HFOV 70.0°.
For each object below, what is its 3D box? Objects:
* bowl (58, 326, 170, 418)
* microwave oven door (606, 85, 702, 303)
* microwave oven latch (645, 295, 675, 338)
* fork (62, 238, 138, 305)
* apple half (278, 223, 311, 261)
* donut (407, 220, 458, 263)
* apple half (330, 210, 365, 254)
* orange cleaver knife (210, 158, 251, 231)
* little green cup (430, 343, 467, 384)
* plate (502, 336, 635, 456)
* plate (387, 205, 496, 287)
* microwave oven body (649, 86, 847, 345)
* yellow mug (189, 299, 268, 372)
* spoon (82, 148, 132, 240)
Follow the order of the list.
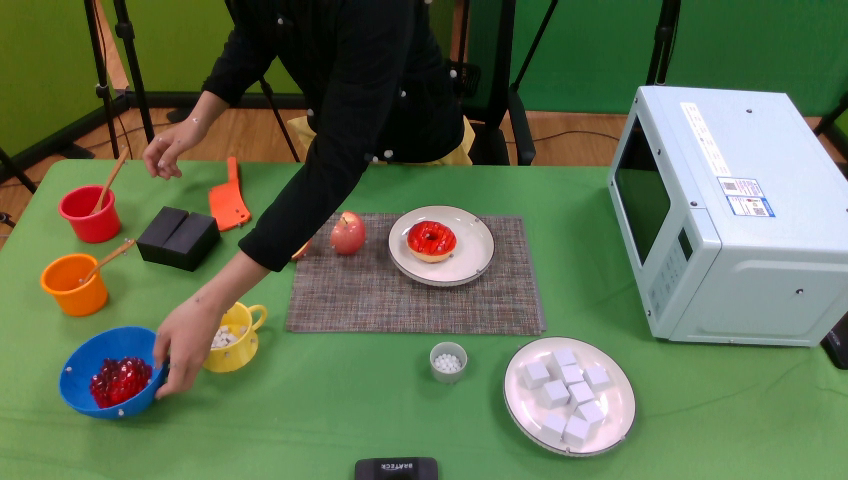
[{"bbox_3d":[-0.450,0.210,0.907,0.151,0.077,0.150,-1,42,1],"label":"bowl"},{"bbox_3d":[0.422,-0.094,1.140,0.039,0.245,0.353,3,46,-1],"label":"microwave oven door"},{"bbox_3d":[0.412,0.134,1.061,0.030,0.029,0.078,3,45,0],"label":"microwave oven latch"},{"bbox_3d":[-0.547,0.053,1.018,0.207,0.019,0.028,-36,41,23],"label":"fork"},{"bbox_3d":[-0.241,0.007,1.157,0.081,0.033,0.081,-17,54,25],"label":"apple half"},{"bbox_3d":[0.016,0.002,1.166,0.099,0.048,0.098,3,44,-3],"label":"donut"},{"bbox_3d":[-0.140,-0.009,1.157,0.053,0.075,0.080,17,43,8],"label":"apple half"},{"bbox_3d":[-0.408,-0.098,1.266,0.077,0.012,0.210,-14,49,-9],"label":"orange cleaver knife"},{"bbox_3d":[0.039,0.203,0.993,0.061,0.039,0.061,2,46,-2],"label":"little green cup"},{"bbox_3d":[0.225,0.248,0.964,0.208,0.039,0.206,2,46,-2],"label":"plate"},{"bbox_3d":[0.033,0.014,1.171,0.209,0.038,0.208,2,46,-2],"label":"plate"},{"bbox_3d":[0.568,-0.053,1.118,0.326,0.261,0.439,2,45,-1],"label":"microwave oven body"},{"bbox_3d":[-0.316,0.148,1.002,0.131,0.064,0.099,-33,56,-31],"label":"yellow mug"},{"bbox_3d":[-0.602,-0.089,1.156,0.041,0.022,0.194,28,95,23],"label":"spoon"}]
